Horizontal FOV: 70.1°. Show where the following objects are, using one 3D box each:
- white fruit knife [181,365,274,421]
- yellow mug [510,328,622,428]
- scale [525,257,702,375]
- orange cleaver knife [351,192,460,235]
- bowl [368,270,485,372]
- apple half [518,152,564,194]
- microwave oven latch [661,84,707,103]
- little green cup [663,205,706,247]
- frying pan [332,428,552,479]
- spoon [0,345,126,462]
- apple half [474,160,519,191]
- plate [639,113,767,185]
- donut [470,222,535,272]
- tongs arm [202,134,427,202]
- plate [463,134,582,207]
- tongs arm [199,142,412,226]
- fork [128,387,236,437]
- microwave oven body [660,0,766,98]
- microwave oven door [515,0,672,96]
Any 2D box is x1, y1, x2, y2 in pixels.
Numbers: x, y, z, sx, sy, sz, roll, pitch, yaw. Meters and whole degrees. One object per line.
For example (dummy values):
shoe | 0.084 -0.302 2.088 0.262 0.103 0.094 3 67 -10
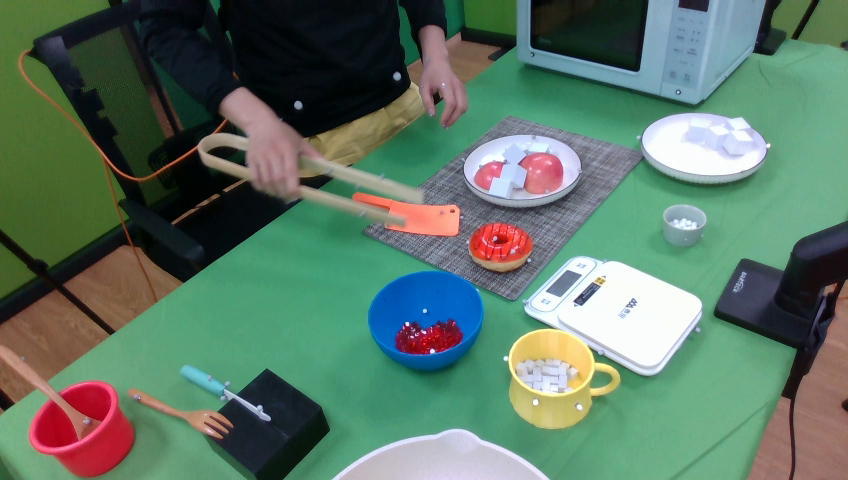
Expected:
white fruit knife | -0.245 0.187 0.747 0.205 0.027 0.016 9 41 40
yellow mug | 0.168 0.164 0.722 0.130 0.064 0.099 0 40 8
scale | 0.254 0.091 0.821 0.199 0.032 0.149 28 51 35
orange cleaver knife | -0.036 -0.045 1.028 0.210 0.012 0.077 10 49 18
bowl | 0.007 0.118 0.791 0.151 0.077 0.150 -4 40 4
apple half | 0.204 -0.124 1.048 0.075 0.053 0.080 -7 41 -3
microwave oven latch | 0.517 -0.296 1.204 0.078 0.029 0.030 27 52 35
little green cup | 0.396 -0.020 0.926 0.061 0.039 0.061 -4 40 4
frying pan | -0.089 0.306 0.564 0.487 0.103 0.306 10 41 7
spoon | -0.434 0.192 0.720 0.194 0.021 0.042 47 53 -7
apple half | 0.130 -0.120 1.068 0.081 0.033 0.081 -3 36 3
plate | 0.489 -0.157 1.074 0.207 0.039 0.206 -4 40 4
donut | 0.119 0.009 0.923 0.099 0.048 0.098 -4 38 3
tongs arm | -0.179 -0.111 0.956 0.383 0.026 0.051 19 51 17
plate | 0.173 -0.119 1.070 0.209 0.038 0.208 -4 40 4
tongs arm | -0.193 -0.087 0.933 0.386 0.028 0.028 18 55 16
fork | -0.305 0.207 0.744 0.206 0.019 0.028 3 41 36
microwave oven body | 0.472 -0.513 1.317 0.438 0.261 0.327 26 51 34
microwave oven door | 0.343 -0.455 1.259 0.353 0.245 0.039 26 51 33
